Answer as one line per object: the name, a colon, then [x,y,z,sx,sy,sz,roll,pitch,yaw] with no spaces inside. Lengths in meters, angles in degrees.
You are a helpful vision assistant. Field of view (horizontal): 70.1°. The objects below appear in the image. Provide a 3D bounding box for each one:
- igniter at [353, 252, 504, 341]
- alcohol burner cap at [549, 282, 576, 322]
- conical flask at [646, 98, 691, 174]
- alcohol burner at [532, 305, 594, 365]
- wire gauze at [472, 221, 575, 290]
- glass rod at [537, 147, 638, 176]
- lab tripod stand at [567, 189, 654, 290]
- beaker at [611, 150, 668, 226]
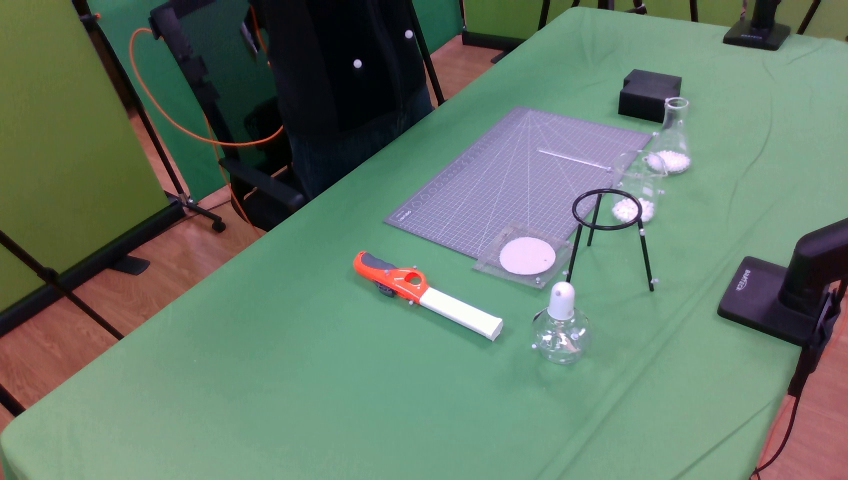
igniter: [-0.005,0.077,0.889,0.274,0.025,0.057,23,59,33]
alcohol burner cap: [0.171,0.073,0.737,0.034,0.048,0.033,-2,38,2]
conical flask: [0.426,-0.180,1.037,0.075,0.122,0.075,-5,40,5]
alcohol burner: [0.174,0.100,0.761,0.078,0.119,0.077,-6,38,5]
wire gauze: [0.158,0.024,0.933,0.120,0.011,0.125,21,49,31]
glass rod: [0.294,-0.145,1.104,0.198,0.008,0.008,22,50,31]
lab tripod stand: [0.251,0.003,0.845,0.148,0.132,0.147,-7,39,6]
beaker: [0.337,-0.079,0.953,0.083,0.101,0.074,25,51,33]
